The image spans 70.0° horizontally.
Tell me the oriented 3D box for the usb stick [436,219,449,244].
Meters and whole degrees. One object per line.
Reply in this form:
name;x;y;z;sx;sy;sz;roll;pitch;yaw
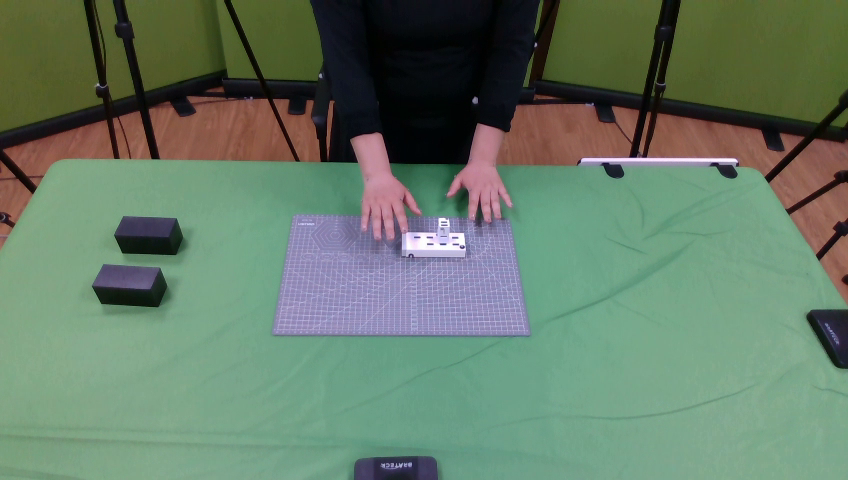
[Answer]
usb stick;0.036;-0.012;1.166;0.021;0.059;0.027;-2;49;-5

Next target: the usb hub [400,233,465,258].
usb hub;0.017;0.011;1.182;0.125;0.025;0.049;1;46;-3
